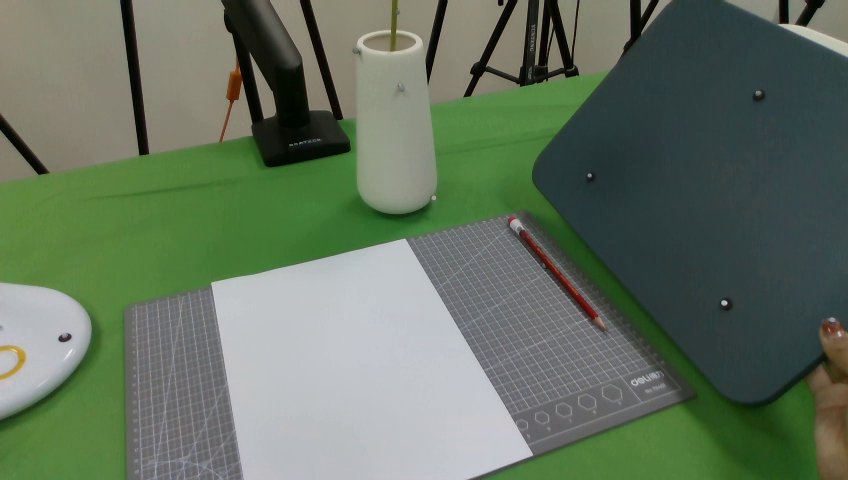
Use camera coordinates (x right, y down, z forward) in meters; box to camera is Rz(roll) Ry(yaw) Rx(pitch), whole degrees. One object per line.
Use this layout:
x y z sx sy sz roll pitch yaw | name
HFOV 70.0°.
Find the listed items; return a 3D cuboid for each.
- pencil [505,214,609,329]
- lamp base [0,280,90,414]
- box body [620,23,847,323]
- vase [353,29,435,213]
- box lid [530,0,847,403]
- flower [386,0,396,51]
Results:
0.135 0.028 0.637 0.012 0.012 0.191 -15 42 -18 | pencil
-0.397 0.034 0.499 0.178 0.182 0.160 23 44 30 | lamp base
0.424 -0.096 0.675 0.255 0.162 0.359 -14 40 -16 | box body
-0.038 -0.131 0.692 0.098 0.202 0.097 -1 38 1 | vase
0.261 -0.065 0.552 0.015 0.264 0.367 23 25 -38 | box lid
-0.037 -0.182 0.624 0.044 0.364 0.038 23 56 7 | flower
